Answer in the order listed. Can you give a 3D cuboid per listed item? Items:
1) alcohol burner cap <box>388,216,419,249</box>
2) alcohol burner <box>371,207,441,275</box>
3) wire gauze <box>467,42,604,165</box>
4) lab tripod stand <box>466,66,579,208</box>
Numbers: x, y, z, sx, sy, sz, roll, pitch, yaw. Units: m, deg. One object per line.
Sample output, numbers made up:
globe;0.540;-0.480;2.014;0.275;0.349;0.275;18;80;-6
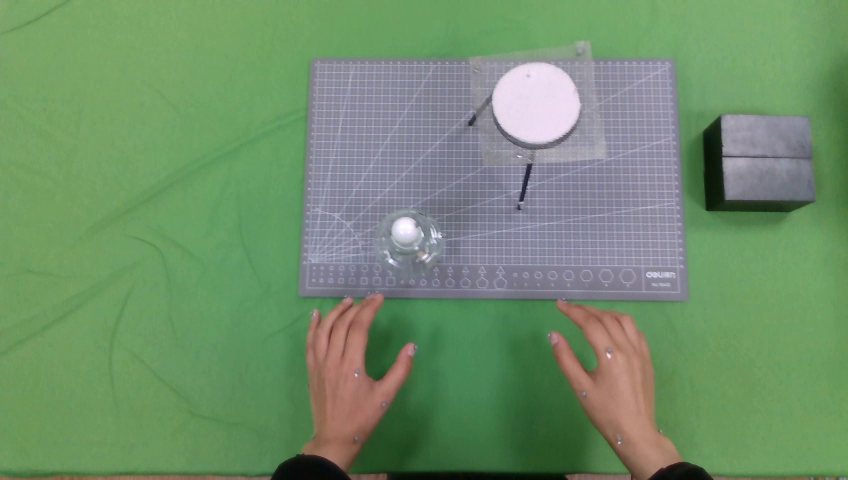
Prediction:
alcohol burner cap;-0.022;-0.010;0.622;0.034;0.048;0.034;0;82;0
alcohol burner;-0.020;-0.002;0.657;0.078;0.119;0.077;0;78;0
wire gauze;0.110;-0.134;0.601;0.125;0.011;0.121;-5;79;-1
lab tripod stand;0.114;-0.123;0.666;0.148;0.132;0.147;0;77;1
